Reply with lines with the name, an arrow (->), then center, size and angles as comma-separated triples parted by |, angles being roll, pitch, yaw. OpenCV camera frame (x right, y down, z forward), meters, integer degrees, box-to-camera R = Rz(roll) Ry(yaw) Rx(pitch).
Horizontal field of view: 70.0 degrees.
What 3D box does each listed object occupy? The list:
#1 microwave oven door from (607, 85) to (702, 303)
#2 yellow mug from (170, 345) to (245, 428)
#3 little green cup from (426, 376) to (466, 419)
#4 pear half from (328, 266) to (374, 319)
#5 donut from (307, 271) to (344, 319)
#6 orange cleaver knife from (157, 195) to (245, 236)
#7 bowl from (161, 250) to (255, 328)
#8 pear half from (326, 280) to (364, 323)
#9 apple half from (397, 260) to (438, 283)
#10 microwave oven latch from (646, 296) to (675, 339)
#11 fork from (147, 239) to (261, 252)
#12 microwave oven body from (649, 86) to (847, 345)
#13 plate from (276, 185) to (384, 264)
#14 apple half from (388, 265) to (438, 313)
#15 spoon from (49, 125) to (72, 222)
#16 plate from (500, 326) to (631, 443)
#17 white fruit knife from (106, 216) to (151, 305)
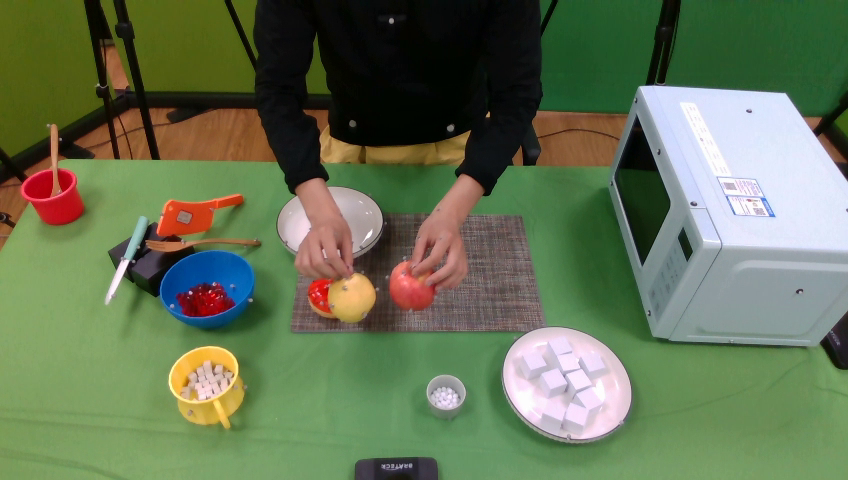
microwave oven door -> 0.423, -0.094, 1.140 | 0.039, 0.245, 0.353 | 2, 46, -1
yellow mug -> -0.322, 0.230, 0.922 | 0.100, 0.064, 0.130 | -24, 53, -25
little green cup -> 0.033, 0.248, 0.950 | 0.061, 0.039, 0.061 | 2, 46, -2
pear half -> -0.114, 0.074, 0.972 | 0.076, 0.110, 0.056 | 18, 46, 15
donut -> -0.157, 0.097, 1.073 | 0.099, 0.048, 0.098 | 4, 45, -4
orange cleaver knife -> -0.427, -0.050, 1.175 | 0.012, 0.077, 0.211 | 23, 19, 20
bowl -> -0.362, 0.097, 1.040 | 0.151, 0.077, 0.150 | 2, 45, -2
pear half -> -0.129, 0.102, 0.955 | 0.070, 0.088, 0.031 | 18, 46, 13
apple half -> -0.015, 0.059, 1.000 | 0.081, 0.081, 0.032 | 7, 44, 3
microwave oven latch -> 0.412, 0.134, 1.061 | 0.030, 0.029, 0.078 | 4, 45, 1
fork -> -0.399, 0.007, 1.118 | 0.208, 0.019, 0.028 | -4, 36, -36
microwave oven body -> 0.568, -0.053, 1.118 | 0.326, 0.261, 0.439 | 2, 45, -1
plate -> -0.184, -0.027, 1.195 | 0.209, 0.038, 0.208 | 2, 46, -2
apple half -> -0.022, 0.085, 0.971 | 0.081, 0.075, 0.053 | 16, 44, -1
spoon -> -0.717, -0.131, 1.189 | 0.042, 0.021, 0.193 | -3, 90, -7
plate -> 0.224, 0.233, 0.978 | 0.208, 0.039, 0.206 | 2, 46, -2
white fruit knife -> -0.519, 0.032, 1.066 | 0.027, 0.016, 0.206 | -18, 45, 19
